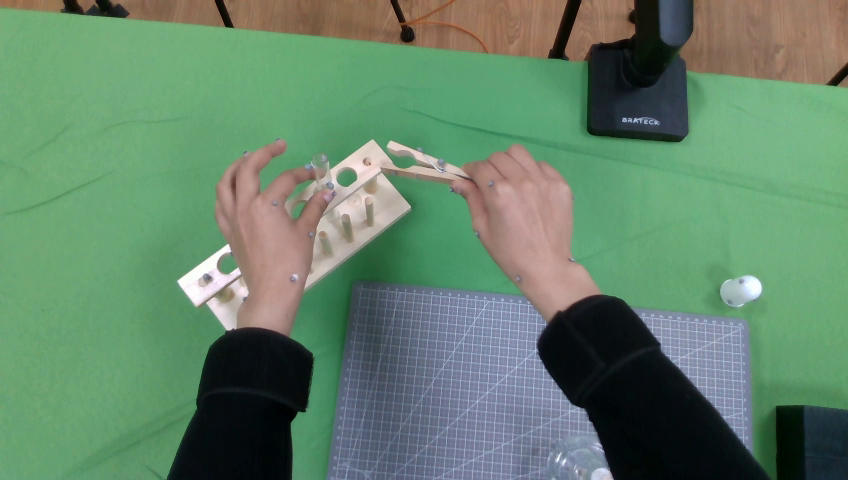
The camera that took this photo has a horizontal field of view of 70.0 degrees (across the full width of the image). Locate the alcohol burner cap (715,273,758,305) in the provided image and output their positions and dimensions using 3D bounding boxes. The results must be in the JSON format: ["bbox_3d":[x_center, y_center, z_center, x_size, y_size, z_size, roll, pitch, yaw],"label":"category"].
[{"bbox_3d":[0.354,0.054,0.680,0.034,0.048,0.033,1,74,-2],"label":"alcohol burner cap"}]

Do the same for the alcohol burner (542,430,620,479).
[{"bbox_3d":[0.157,0.224,0.587,0.078,0.119,0.077,1,74,-3],"label":"alcohol burner"}]

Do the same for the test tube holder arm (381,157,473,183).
[{"bbox_3d":[0.003,-0.064,0.559,0.087,0.015,0.010,9,79,12],"label":"test tube holder arm"}]

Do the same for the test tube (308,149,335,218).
[{"bbox_3d":[-0.102,-0.053,0.613,0.017,0.151,0.017,1,72,-4],"label":"test tube"}]

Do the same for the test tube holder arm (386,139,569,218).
[{"bbox_3d":[0.046,-0.057,0.550,0.177,0.015,0.013,21,83,14],"label":"test tube holder arm"}]

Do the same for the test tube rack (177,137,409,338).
[{"bbox_3d":[-0.130,-0.001,0.650,0.242,0.085,0.066,-38,79,-11],"label":"test tube rack"}]
